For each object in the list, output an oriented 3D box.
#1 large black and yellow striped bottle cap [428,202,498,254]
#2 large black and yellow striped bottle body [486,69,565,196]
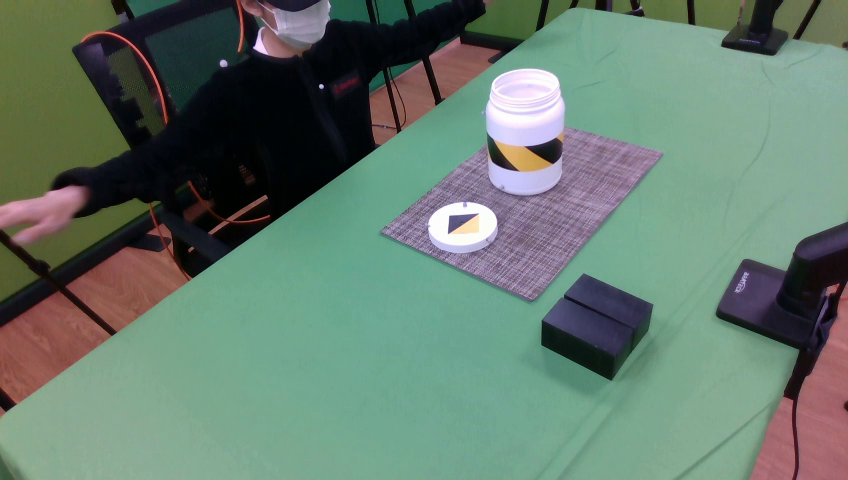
[{"bbox_3d":[0.064,-0.022,0.990,0.115,0.019,0.114,-4,42,4],"label":"large black and yellow striped bottle cap"},{"bbox_3d":[0.173,-0.183,1.033,0.131,0.185,0.130,-5,41,5],"label":"large black and yellow striped bottle body"}]
